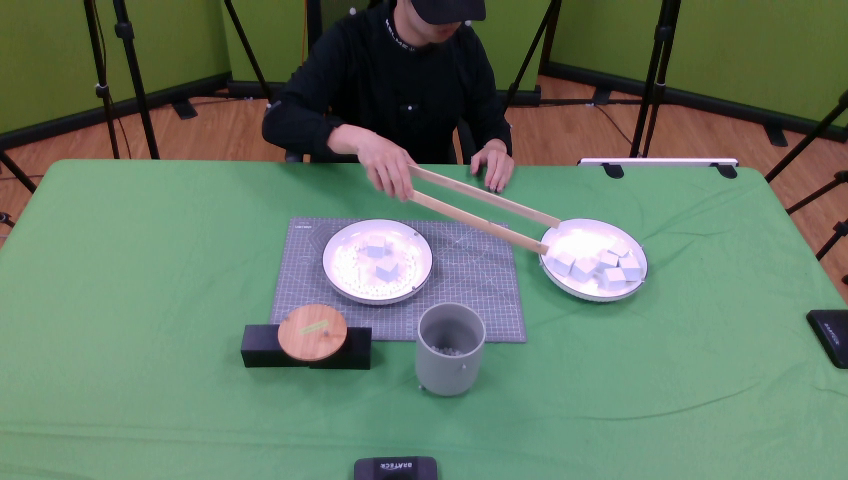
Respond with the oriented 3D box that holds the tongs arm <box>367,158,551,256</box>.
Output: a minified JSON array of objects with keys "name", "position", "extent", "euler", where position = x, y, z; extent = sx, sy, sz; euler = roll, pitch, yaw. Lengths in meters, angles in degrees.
[{"name":"tongs arm","position":[0.058,-0.065,1.139],"extent":[0.384,0.026,0.050],"euler":[22,49,10]}]

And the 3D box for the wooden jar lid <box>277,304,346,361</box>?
[{"name":"wooden jar lid","position":[-0.179,0.150,0.972],"extent":[0.108,0.021,0.107],"euler":[2,45,-2]}]

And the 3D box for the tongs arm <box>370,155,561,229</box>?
[{"name":"tongs arm","position":[0.077,-0.094,1.170],"extent":[0.387,0.028,0.028],"euler":[20,52,8]}]

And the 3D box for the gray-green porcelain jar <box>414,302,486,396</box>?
[{"name":"gray-green porcelain jar","position":[0.038,0.177,0.958],"extent":[0.106,0.127,0.105],"euler":[2,46,-2]}]

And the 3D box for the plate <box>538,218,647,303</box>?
[{"name":"plate","position":[0.322,0.042,1.171],"extent":[0.208,0.039,0.206],"euler":[2,46,-2]}]

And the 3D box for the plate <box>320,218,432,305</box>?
[{"name":"plate","position":[-0.089,0.044,1.134],"extent":[0.209,0.038,0.208],"euler":[3,46,-2]}]
